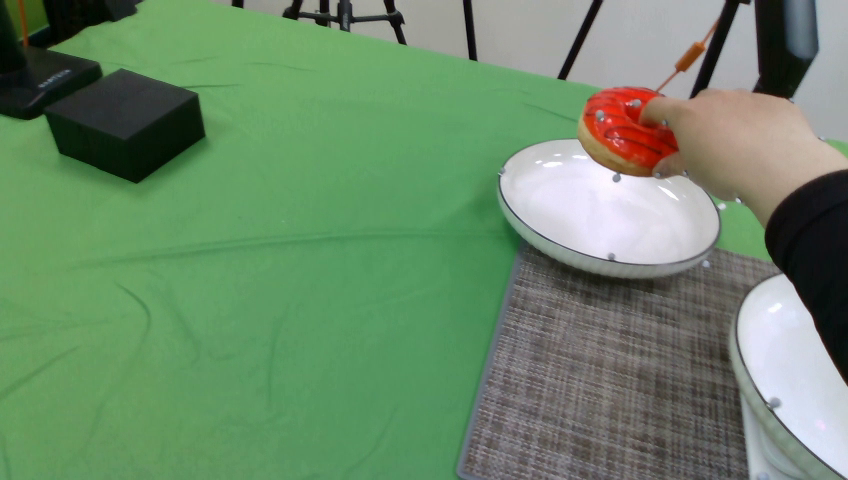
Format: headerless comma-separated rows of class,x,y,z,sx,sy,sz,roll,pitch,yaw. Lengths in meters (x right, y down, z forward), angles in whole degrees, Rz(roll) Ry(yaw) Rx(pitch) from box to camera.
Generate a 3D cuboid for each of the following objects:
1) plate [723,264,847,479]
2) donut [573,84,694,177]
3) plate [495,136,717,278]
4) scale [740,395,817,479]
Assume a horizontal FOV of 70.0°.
plate,0.305,0.101,0.409,0.208,0.039,0.205,4,43,-4
donut,0.173,-0.090,0.501,0.099,0.048,0.098,5,47,-5
plate,0.169,-0.032,0.585,0.209,0.038,0.207,4,40,-3
scale,0.296,0.140,0.414,0.148,0.032,0.199,14,43,9
